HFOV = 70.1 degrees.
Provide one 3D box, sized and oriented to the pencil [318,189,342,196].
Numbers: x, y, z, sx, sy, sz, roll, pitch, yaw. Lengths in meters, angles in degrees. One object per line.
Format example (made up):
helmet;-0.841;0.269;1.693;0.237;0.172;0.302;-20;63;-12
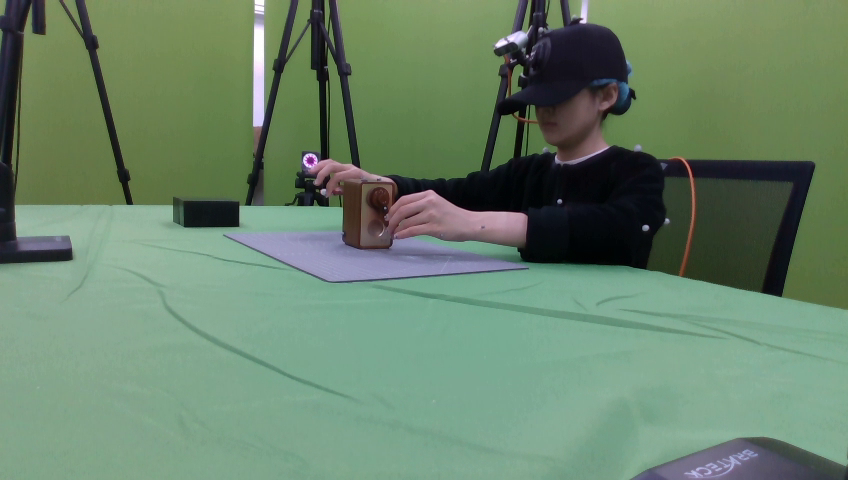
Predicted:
pencil;-0.144;-0.079;1.047;0.012;0.012;0.193;-2;7;-31

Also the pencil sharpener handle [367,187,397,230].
pencil sharpener handle;-0.059;-0.047;0.917;0.036;0.068;0.030;-26;20;-24

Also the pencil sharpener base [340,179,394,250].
pencil sharpener base;-0.090;-0.041;0.959;0.061;0.107;0.076;-1;9;-30
